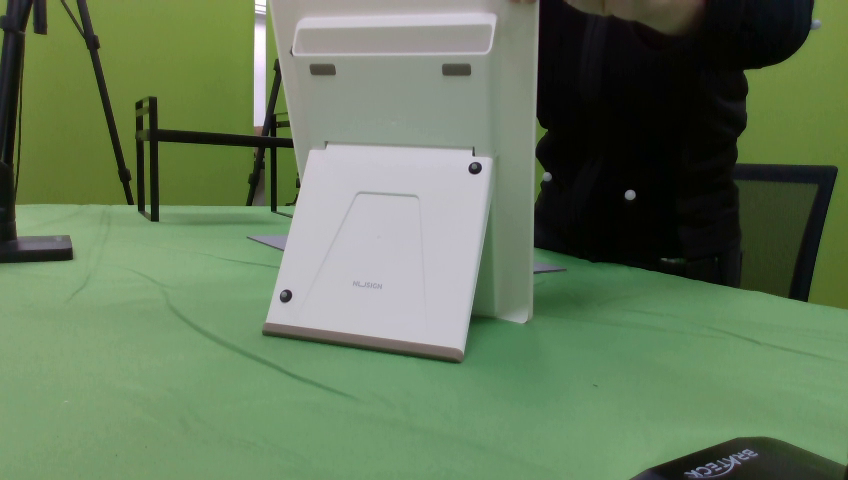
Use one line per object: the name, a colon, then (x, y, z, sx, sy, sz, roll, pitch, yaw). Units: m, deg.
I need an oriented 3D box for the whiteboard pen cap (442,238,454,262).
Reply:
whiteboard pen cap: (0.033, 0.014, 0.851, 0.018, 0.033, 0.018, 3, 5, 0)

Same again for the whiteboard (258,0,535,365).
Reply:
whiteboard: (-0.037, -0.041, 0.456, 0.216, 0.305, 0.144, 5, 27, 19)

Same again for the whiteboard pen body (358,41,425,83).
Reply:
whiteboard pen body: (-0.029, -0.162, 0.552, 0.017, 0.017, 0.141, 5, 29, 20)
